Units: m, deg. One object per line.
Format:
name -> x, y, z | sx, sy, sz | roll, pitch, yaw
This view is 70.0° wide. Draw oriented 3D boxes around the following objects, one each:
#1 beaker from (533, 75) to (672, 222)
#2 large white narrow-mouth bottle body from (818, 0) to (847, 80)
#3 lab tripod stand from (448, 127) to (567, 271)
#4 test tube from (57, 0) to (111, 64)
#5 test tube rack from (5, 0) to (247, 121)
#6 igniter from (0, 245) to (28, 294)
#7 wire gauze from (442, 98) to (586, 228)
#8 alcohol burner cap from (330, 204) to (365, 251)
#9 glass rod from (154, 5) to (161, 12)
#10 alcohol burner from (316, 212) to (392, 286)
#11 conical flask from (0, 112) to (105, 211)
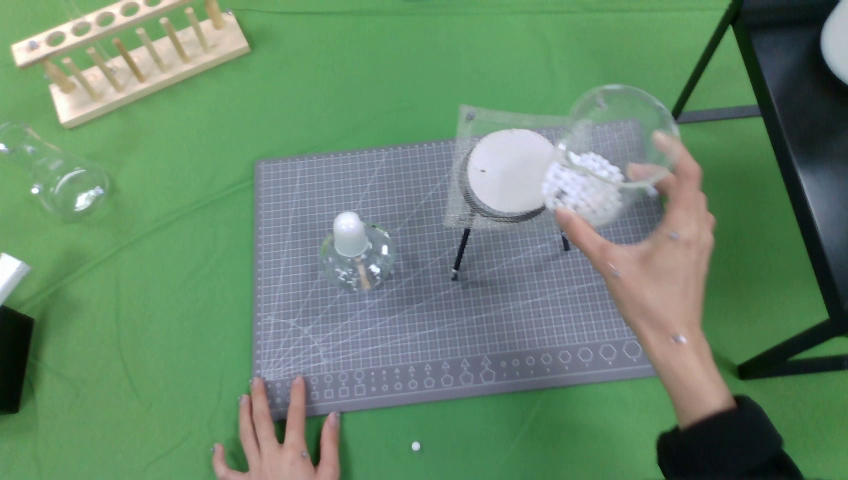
beaker -> 0.121, -0.059, 0.444 | 0.084, 0.101, 0.073 | -24, 75, -10
large white narrow-mouth bottle body -> 0.377, -0.199, 0.428 | 0.102, 0.196, 0.101 | -1, 68, 4
lab tripod stand -> 0.080, -0.039, 0.600 | 0.148, 0.132, 0.147 | 0, 67, 1
test tube -> -0.395, -0.256, 0.682 | 0.017, 0.151, 0.017 | -1, 62, 2
test tube rack -> -0.349, -0.239, 0.727 | 0.242, 0.086, 0.066 | -26, 69, -8
igniter -> -0.476, 0.126, 0.567 | 0.057, 0.025, 0.275 | 21, 70, 20
wire gauze -> 0.083, -0.070, 0.539 | 0.121, 0.011, 0.124 | 6, 69, 3
alcohol burner cap -> -0.073, -0.015, 0.568 | 0.034, 0.048, 0.033 | 1, 60, -1
glass rod -> -0.326, -0.304, 0.680 | 0.008, 0.201, 0.008 | -2, 60, 4
alcohol burner -> -0.071, 0.001, 0.601 | 0.078, 0.120, 0.077 | 0, 66, 1
conical flask -> -0.408, -0.088, 0.649 | 0.075, 0.123, 0.075 | -1, 68, 3
